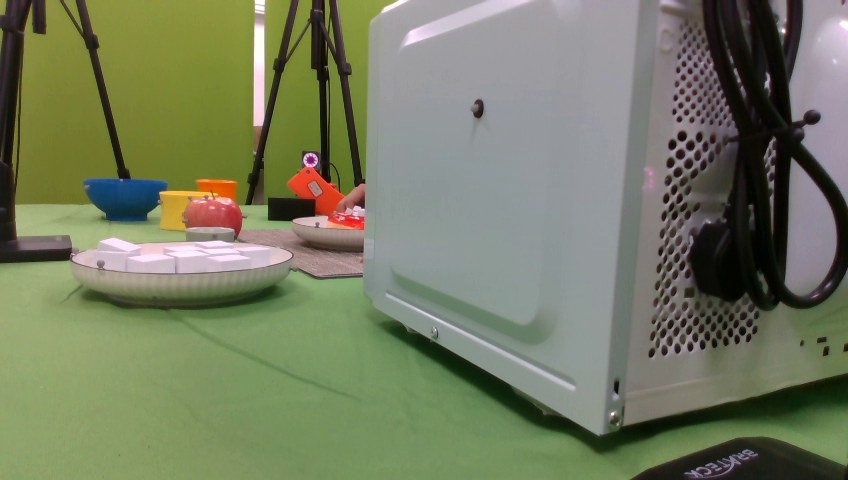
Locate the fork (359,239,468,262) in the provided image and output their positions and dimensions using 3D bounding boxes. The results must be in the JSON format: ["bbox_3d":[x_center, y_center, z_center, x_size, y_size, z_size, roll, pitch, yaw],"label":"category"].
[{"bbox_3d":[-0.008,0.014,0.872,0.208,0.018,0.028,-5,2,-44],"label":"fork"}]

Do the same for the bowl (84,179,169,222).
[{"bbox_3d":[-0.584,-0.078,1.194,0.151,0.077,0.151,3,8,0],"label":"bowl"}]

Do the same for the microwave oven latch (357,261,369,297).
[{"bbox_3d":[-0.019,0.033,0.531,0.079,0.029,0.030,-1,7,-26],"label":"microwave oven latch"}]

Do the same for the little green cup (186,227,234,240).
[{"bbox_3d":[-0.285,0.005,0.805,0.061,0.038,0.061,3,8,0],"label":"little green cup"}]

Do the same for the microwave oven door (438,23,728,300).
[{"bbox_3d":[0.181,-0.072,0.621,0.358,0.243,0.039,-2,8,-29],"label":"microwave oven door"}]

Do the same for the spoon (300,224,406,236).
[{"bbox_3d":[-0.127,-0.018,1.103,0.194,0.021,0.041,0,9,-16],"label":"spoon"}]

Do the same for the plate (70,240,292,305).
[{"bbox_3d":[-0.242,0.031,0.618,0.208,0.039,0.207,2,8,0],"label":"plate"}]

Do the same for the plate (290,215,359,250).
[{"bbox_3d":[-0.110,-0.014,0.973,0.209,0.038,0.209,3,8,0],"label":"plate"}]

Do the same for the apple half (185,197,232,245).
[{"bbox_3d":[-0.337,-0.031,0.928,0.032,0.081,0.082,13,13,37],"label":"apple half"}]

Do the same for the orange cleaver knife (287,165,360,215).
[{"bbox_3d":[-0.211,-0.092,1.382,0.212,0.077,0.012,33,1,-15],"label":"orange cleaver knife"}]

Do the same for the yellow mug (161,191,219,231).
[{"bbox_3d":[-0.416,-0.053,1.103,0.130,0.064,0.100,7,8,26],"label":"yellow mug"}]

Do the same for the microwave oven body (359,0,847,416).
[{"bbox_3d":[0.211,-0.047,0.474,0.444,0.260,0.324,-1,7,-28],"label":"microwave oven body"}]

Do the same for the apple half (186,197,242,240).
[{"bbox_3d":[-0.306,-0.026,0.905,0.053,0.074,0.081,14,9,37],"label":"apple half"}]

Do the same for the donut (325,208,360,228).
[{"bbox_3d":[-0.110,-0.025,0.974,0.099,0.048,0.099,5,8,0],"label":"donut"}]
